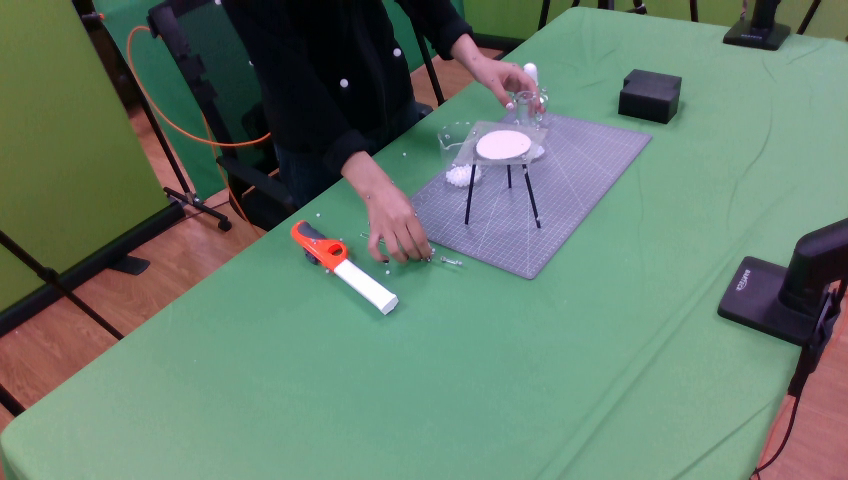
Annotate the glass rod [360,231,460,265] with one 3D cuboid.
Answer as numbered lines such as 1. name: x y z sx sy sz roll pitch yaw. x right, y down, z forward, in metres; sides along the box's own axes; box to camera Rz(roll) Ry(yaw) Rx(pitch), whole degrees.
1. glass rod: -0.026 0.012 0.983 0.198 0.008 0.008 17 47 31

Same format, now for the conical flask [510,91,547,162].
1. conical flask: 0.189 -0.212 1.116 0.075 0.122 0.075 -6 40 5

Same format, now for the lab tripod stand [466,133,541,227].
1. lab tripod stand: 0.130 -0.099 0.985 0.148 0.132 0.147 -6 39 6

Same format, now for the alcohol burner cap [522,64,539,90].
1. alcohol burner cap: 0.210 -0.324 1.195 0.034 0.048 0.033 -6 45 7

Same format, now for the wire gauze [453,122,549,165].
1. wire gauze: 0.121 -0.150 0.942 0.121 0.011 0.125 8 42 21

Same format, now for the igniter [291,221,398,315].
1. igniter: -0.136 0.037 0.963 0.057 0.025 0.274 -41 48 -18

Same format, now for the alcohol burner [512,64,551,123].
1. alcohol burner: 0.215 -0.298 1.220 0.078 0.120 0.077 -7 40 7

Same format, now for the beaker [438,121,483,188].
1. beaker: 0.066 -0.149 1.084 0.073 0.101 0.084 20 49 31
